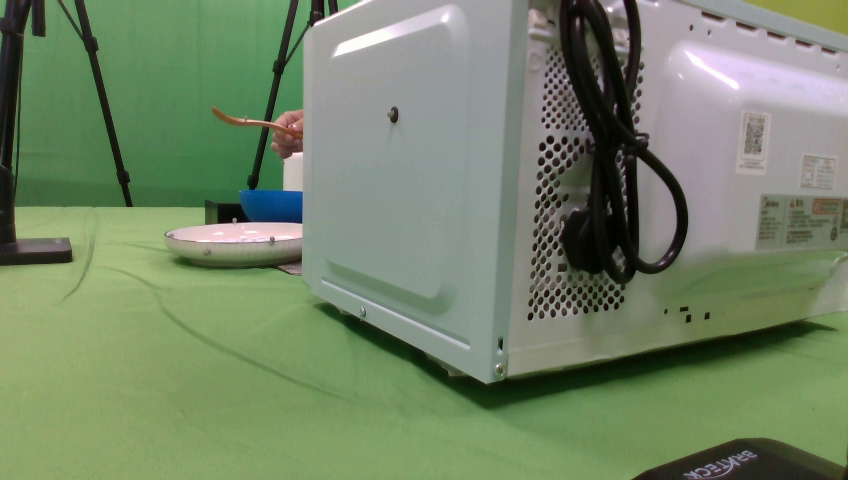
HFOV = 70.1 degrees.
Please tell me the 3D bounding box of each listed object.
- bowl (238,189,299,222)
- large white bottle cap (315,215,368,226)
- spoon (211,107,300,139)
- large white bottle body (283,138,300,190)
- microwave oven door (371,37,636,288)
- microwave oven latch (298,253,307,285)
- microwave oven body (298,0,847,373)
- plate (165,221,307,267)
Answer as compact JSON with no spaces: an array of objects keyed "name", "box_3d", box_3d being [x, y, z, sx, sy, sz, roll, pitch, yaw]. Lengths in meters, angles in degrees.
[{"name":"bowl","box_3d":[-0.245,-0.046,1.052,0.151,0.077,0.151,3,8,0]},{"name":"large white bottle cap","box_3d":[-0.178,-0.041,1.309,0.115,0.018,0.115,2,6,0]},{"name":"spoon","box_3d":[-0.265,-0.191,1.019,0.195,0.021,0.041,6,12,-42]},{"name":"large white bottle body","box_3d":[-0.265,-0.144,1.423,0.131,0.184,0.130,2,7,0]},{"name":"microwave oven door","box_3d":[0.109,-0.080,0.686,0.358,0.243,0.039,-2,9,-33]},{"name":"microwave oven latch","box_3d":[-0.081,0.027,0.582,0.079,0.029,0.030,-1,7,-32]},{"name":"microwave oven body","box_3d":[0.151,-0.055,0.542,0.444,0.260,0.324,-2,7,-33]},{"name":"plate","box_3d":[-0.241,0.004,0.829,0.209,0.038,0.209,0,9,0]}]
